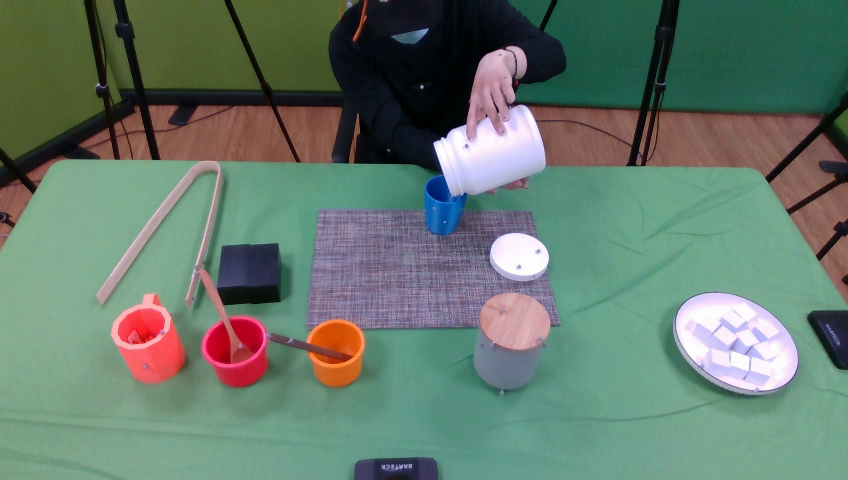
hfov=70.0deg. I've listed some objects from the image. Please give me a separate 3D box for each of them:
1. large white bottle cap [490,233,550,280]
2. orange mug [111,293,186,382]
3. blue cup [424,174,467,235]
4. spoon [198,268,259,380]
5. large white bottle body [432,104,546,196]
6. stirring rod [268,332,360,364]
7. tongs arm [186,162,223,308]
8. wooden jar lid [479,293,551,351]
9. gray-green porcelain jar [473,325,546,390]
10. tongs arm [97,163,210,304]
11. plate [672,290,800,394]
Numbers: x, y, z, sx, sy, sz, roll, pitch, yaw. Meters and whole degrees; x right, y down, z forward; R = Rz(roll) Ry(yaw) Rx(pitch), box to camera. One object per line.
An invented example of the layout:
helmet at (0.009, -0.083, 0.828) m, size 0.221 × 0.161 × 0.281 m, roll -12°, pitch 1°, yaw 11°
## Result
large white bottle cap at (0.186, 0.031, 1.177) m, size 0.115 × 0.018 × 0.114 m, roll 2°, pitch 46°, yaw -2°
orange mug at (-0.435, 0.149, 0.969) m, size 0.083 × 0.101 × 0.125 m, roll -5°, pitch 51°, yaw -8°
blue cup at (0.039, -0.065, 1.201) m, size 0.093 × 0.101 × 0.092 m, roll 3°, pitch 47°, yaw -3°
spoon at (-0.313, 0.133, 0.962) m, size 0.041 × 0.021 × 0.194 m, roll -24°, pitch 96°, yaw -22°
large white bottle body at (0.119, -0.161, 1.122) m, size 0.184 × 0.131 × 0.129 m, roll -19°, pitch 48°, yaw 3°
stirring rod at (-0.167, 0.169, 0.942) m, size 0.177 × 0.006 × 0.014 m, roll 26°, pitch 27°, yaw -41°
tongs arm at (-0.436, -0.024, 1.181) m, size 0.051 × 0.027 × 0.382 m, roll -3°, pitch 45°, yaw 0°
wooden jar lid at (0.138, 0.127, 0.925) m, size 0.108 × 0.021 × 0.107 m, roll 1°, pitch 47°, yaw -1°
gray-green porcelain jar at (0.135, 0.170, 0.969) m, size 0.106 × 0.127 × 0.105 m, roll 2°, pitch 46°, yaw -2°
tongs arm at (-0.520, -0.027, 1.183) m, size 0.028 × 0.028 × 0.385 m, roll 5°, pitch 45°, yaw 12°
plate at (0.533, 0.178, 1.050) m, size 0.208 × 0.039 × 0.206 m, roll 2°, pitch 46°, yaw -2°
